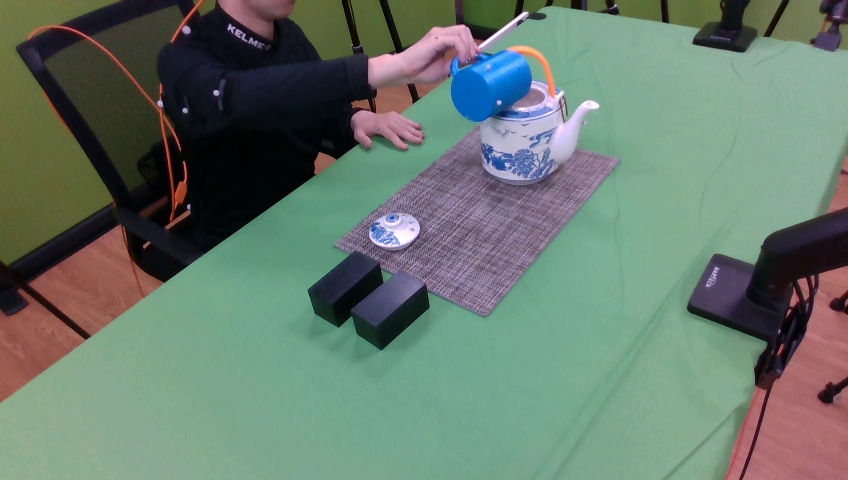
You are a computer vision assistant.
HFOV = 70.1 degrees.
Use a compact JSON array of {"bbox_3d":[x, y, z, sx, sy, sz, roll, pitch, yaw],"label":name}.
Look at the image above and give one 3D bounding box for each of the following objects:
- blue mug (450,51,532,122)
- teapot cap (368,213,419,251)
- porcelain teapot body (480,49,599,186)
[{"bbox_3d":[0.094,-0.251,0.944,0.116,0.082,0.106,46,52,12],"label":"blue mug"},{"bbox_3d":[-0.050,-0.019,0.975,0.085,0.044,0.084,-4,43,4],"label":"teapot cap"},{"bbox_3d":[0.193,-0.208,1.023,0.204,0.226,0.145,16,46,25],"label":"porcelain teapot body"}]
